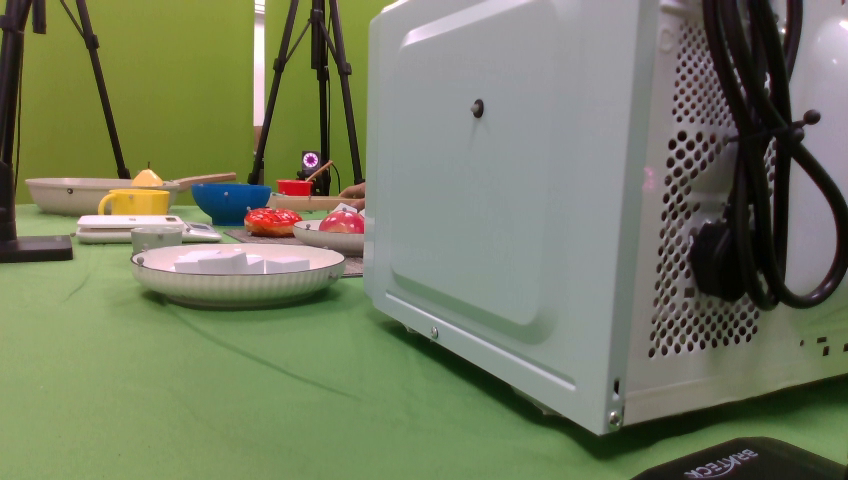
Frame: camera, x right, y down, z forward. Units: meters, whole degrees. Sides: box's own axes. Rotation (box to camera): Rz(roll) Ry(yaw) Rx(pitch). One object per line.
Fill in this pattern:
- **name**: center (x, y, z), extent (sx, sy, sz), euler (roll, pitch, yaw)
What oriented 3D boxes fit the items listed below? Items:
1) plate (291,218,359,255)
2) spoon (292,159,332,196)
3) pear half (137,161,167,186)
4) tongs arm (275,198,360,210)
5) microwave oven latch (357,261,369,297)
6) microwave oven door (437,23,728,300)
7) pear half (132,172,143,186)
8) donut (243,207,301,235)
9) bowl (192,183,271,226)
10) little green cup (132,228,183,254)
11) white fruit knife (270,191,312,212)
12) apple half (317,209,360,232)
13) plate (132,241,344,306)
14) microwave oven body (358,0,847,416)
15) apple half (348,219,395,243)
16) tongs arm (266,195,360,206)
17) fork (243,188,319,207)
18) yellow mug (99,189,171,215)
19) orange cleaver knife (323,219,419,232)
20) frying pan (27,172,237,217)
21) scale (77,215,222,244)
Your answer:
- **plate**: center (-0.098, -0.007, 0.928), extent (0.209, 0.038, 0.209), euler (2, 8, 0)
- **spoon**: center (-0.316, -0.158, 1.640), extent (0.194, 0.022, 0.041), euler (-50, 31, -20)
- **pear half**: center (-0.602, -0.120, 1.354), extent (0.056, 0.110, 0.076), euler (4, 11, 6)
- **tongs arm**: center (-0.154, -0.084, 1.377), extent (0.387, 0.026, 0.050), euler (-2, 6, -30)
- **microwave oven latch**: center (-0.019, 0.033, 0.530), extent (0.079, 0.029, 0.030), euler (-1, 7, -26)
- **microwave oven door**: center (0.180, -0.072, 0.621), extent (0.358, 0.243, 0.039), euler (-2, 9, -29)
- **pear half**: center (-0.638, -0.113, 1.361), extent (0.031, 0.088, 0.070), euler (5, 10, 4)
- **donut**: center (-0.261, -0.032, 1.043), extent (0.099, 0.048, 0.099), euler (4, 9, 0)
- **bowl**: center (-0.382, -0.071, 1.202), extent (0.151, 0.077, 0.151), euler (3, 7, 0)
- **little green cup**: center (-0.342, 0.006, 0.779), extent (0.061, 0.038, 0.061), euler (2, 8, 0)
- **white fruit knife**: center (-0.364, -0.105, 1.464), extent (0.208, 0.027, 0.016), euler (15, 0, -34)
- **apple half**: center (-0.122, -0.020, 0.900), extent (0.080, 0.053, 0.075), euler (3, 10, 14)
- **plate**: center (-0.187, 0.033, 0.625), extent (0.208, 0.039, 0.207), euler (2, 8, 0)
- **microwave oven body**: center (0.211, -0.047, 0.474), extent (0.444, 0.260, 0.324), euler (-1, 7, -28)
- **apple half**: center (-0.083, -0.018, 0.967), extent (0.081, 0.033, 0.081), euler (5, 10, -1)
- **tongs arm**: center (-0.181, -0.091, 1.424), extent (0.389, 0.028, 0.028), euler (-1, 2, -26)
- **fork**: center (-0.356, -0.105, 1.526), extent (0.208, 0.018, 0.028), euler (16, -7, -41)
- **yellow mug**: center (-0.519, -0.055, 1.080), extent (0.099, 0.064, 0.131), euler (7, 9, 26)
- **orange cleaver knife**: center (-0.097, -0.028, 1.152), extent (0.077, 0.012, 0.212), euler (1, 6, 41)
- **frying pan**: center (-0.624, -0.118, 1.387), extent (0.305, 0.102, 0.490), euler (8, 17, 32)
- **scale**: center (-0.434, -0.019, 0.963), extent (0.202, 0.031, 0.148), euler (-1, 9, -27)
